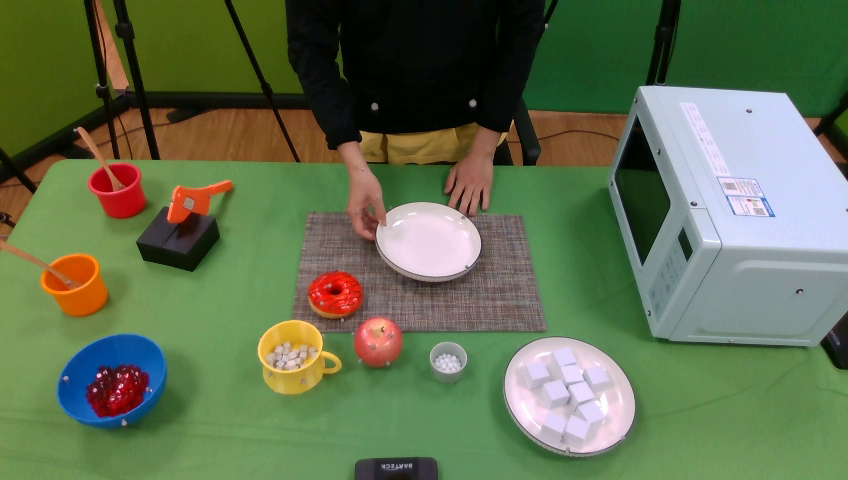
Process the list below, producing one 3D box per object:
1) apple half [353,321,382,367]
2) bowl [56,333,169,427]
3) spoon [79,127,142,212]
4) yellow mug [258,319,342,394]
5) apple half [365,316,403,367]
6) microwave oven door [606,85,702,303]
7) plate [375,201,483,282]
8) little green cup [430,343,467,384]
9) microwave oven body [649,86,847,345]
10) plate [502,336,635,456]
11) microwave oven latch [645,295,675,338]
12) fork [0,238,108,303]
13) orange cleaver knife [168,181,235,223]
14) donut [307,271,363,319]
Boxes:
[{"bbox_3d":[-0.098,0.177,0.984,0.033,0.081,0.081,-17,49,-25],"label":"apple half"},{"bbox_3d":[-0.456,0.223,0.911,0.151,0.077,0.150,3,46,-2],"label":"bowl"},{"bbox_3d":[-0.624,-0.140,1.203,0.041,0.021,0.194,-33,100,-26],"label":"spoon"},{"bbox_3d":[-0.196,0.189,0.972,0.131,0.064,0.099,9,46,4],"label":"yellow mug"},{"bbox_3d":[-0.063,0.165,1.000,0.053,0.075,0.080,-16,45,-24],"label":"apple half"},{"bbox_3d":[0.423,-0.094,1.140,0.039,0.245,0.353,2,46,-1],"label":"microwave oven door"},{"bbox_3d":[0.008,0.006,1.168,0.209,0.038,0.208,6,44,-5],"label":"plate"},{"bbox_3d":[0.039,0.203,0.994,0.061,0.039,0.061,2,46,-2],"label":"little green cup"},{"bbox_3d":[0.567,-0.053,1.118,0.326,0.261,0.439,2,45,-1],"label":"microwave oven body"},{"bbox_3d":[0.225,0.248,0.963,0.208,0.039,0.206,2,46,-2],"label":"plate"},{"bbox_3d":[0.411,0.134,1.061,0.030,0.029,0.078,3,45,0],"label":"microwave oven latch"},{"bbox_3d":[-0.633,0.048,1.017,0.208,0.018,0.028,40,41,-27],"label":"fork"},{"bbox_3d":[-0.436,-0.078,1.196,0.012,0.077,0.211,16,15,10],"label":"orange cleaver knife"},{"bbox_3d":[-0.157,0.097,1.073,0.099,0.048,0.098,3,45,-3],"label":"donut"}]
